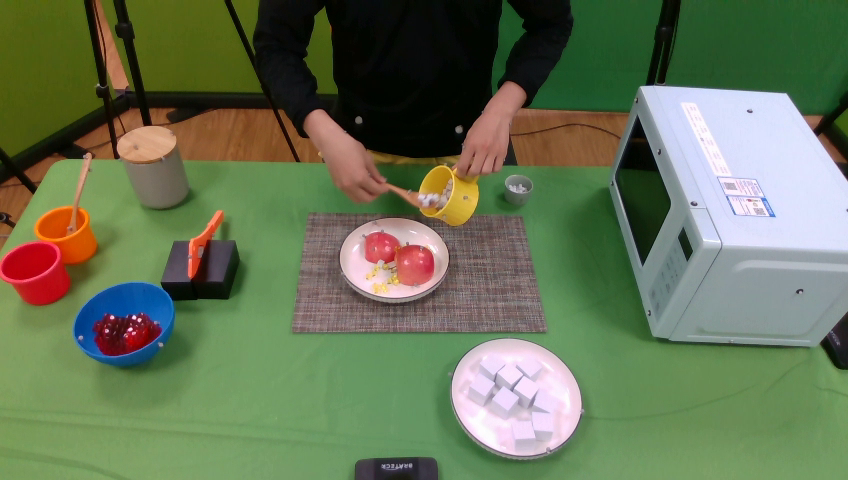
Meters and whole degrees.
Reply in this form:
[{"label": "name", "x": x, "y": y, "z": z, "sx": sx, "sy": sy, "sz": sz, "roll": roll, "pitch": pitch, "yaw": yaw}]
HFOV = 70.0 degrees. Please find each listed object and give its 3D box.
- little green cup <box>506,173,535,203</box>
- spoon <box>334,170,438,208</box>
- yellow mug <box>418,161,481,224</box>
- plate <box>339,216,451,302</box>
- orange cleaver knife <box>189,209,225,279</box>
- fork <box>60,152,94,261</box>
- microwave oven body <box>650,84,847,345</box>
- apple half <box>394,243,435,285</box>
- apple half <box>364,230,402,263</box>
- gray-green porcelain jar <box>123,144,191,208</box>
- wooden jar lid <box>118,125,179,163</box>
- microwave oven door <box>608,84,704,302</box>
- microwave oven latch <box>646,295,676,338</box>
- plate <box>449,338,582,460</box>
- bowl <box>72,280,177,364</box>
[{"label": "little green cup", "x": 0.205, "y": -0.111, "z": 1.302, "sx": 0.061, "sy": 0.039, "sz": 0.061, "roll": 1, "pitch": 45, "yaw": -1}, {"label": "spoon", "x": -0.068, "y": -0.096, "z": 1.092, "sx": 0.194, "sy": 0.022, "sz": 0.041, "roll": 19, "pitch": 49, "yaw": -7}, {"label": "yellow mug", "x": 0.054, "y": -0.096, "z": 1.121, "sx": 0.064, "sy": 0.131, "sz": 0.099, "roll": 19, "pitch": 33, "yaw": -40}, {"label": "plate", "x": -0.054, "y": 0.038, "z": 1.137, "sx": 0.209, "sy": 0.038, "sz": 0.208, "roll": 2, "pitch": 46, "yaw": -2}, {"label": "orange cleaver knife", "x": -0.400, "y": 0.002, "z": 1.122, "sx": 0.012, "sy": 0.077, "sz": 0.210, "roll": 4, "pitch": 23, "yaw": -4}, {"label": "fork", "x": -0.638, "y": -0.063, "z": 1.119, "sx": 0.028, "sy": 0.018, "sz": 0.207, "roll": 12, "pitch": 90, "yaw": 9}, {"label": "microwave oven body", "x": 0.569, "y": -0.054, "z": 1.116, "sx": 0.326, "sy": 0.261, "sz": 0.439, "roll": 2, "pitch": 46, "yaw": -1}, {"label": "apple half", "x": -0.016, "y": 0.036, "z": 1.120, "sx": 0.075, "sy": 0.053, "sz": 0.080, "roll": 1, "pitch": 46, "yaw": -6}, {"label": "apple half", "x": -0.079, "y": 0.004, "z": 1.160, "sx": 0.081, "sy": 0.033, "sz": 0.081, "roll": 3, "pitch": 50, "yaw": -3}, {"label": "gray-green porcelain jar", "x": -0.530, "y": -0.137, "z": 1.213, "sx": 0.106, "sy": 0.127, "sz": 0.105, "roll": 2, "pitch": 46, "yaw": -2}, {"label": "wooden jar lid", "x": -0.528, "y": -0.181, "z": 1.167, "sx": 0.108, "sy": 0.021, "sz": 0.107, "roll": 4, "pitch": 48, "yaw": -4}, {"label": "microwave oven door", "x": 0.424, "y": -0.096, "z": 1.138, "sx": 0.039, "sy": 0.245, "sz": 0.353, "roll": 2, "pitch": 47, "yaw": -1}, {"label": "microwave oven latch", "x": 0.413, "y": 0.133, "z": 1.060, "sx": 0.030, "sy": 0.029, "sz": 0.078, "roll": 4, "pitch": 46, "yaw": 1}, {"label": "plate", "x": 0.141, "y": 0.251, "z": 0.955, "sx": 0.208, "sy": 0.039, "sz": 0.206, "roll": 2, "pitch": 47, "yaw": -2}, {"label": "bowl", "x": -0.472, "y": 0.147, "z": 0.982, "sx": 0.151, "sy": 0.077, "sz": 0.150, "roll": 2, "pitch": 46, "yaw": -2}]
